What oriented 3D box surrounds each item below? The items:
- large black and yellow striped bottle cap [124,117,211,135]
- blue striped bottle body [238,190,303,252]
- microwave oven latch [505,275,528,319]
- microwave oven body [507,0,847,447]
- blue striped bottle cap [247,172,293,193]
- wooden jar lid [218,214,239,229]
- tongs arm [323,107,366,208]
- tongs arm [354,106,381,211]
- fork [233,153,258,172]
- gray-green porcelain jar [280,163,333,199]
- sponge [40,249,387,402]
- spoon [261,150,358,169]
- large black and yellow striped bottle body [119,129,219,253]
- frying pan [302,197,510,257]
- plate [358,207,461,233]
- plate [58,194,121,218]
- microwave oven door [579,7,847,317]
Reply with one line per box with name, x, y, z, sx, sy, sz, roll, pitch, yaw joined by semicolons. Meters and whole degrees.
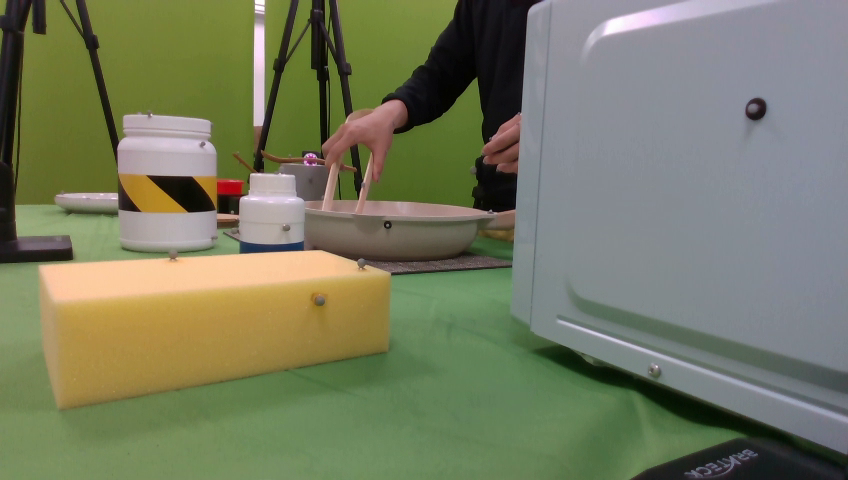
large black and yellow striped bottle cap;-0.366;-0.163;0.866;0.115;0.019;0.115;3;7;0
blue striped bottle body;-0.153;-0.007;0.606;0.063;0.120;0.063;2;7;0
microwave oven latch;0.100;0.041;0.471;0.079;0.029;0.030;-1;7;-28
microwave oven body;0.331;-0.042;0.425;0.444;0.260;0.324;-2;8;-31
blue striped bottle cap;-0.152;-0.057;0.598;0.044;0.020;0.044;3;7;0
wooden jar lid;-0.404;-0.037;1.169;0.108;0.020;0.108;3;7;0
tongs arm;-0.138;-0.141;1.051;0.028;0.028;0.387;-11;34;10
tongs arm;-0.107;-0.145;1.048;0.051;0.026;0.384;-7;35;10
fork;-0.396;-0.143;1.486;0.028;0.018;0.208;20;-25;45
gray-green porcelain jar;-0.238;-0.091;1.221;0.106;0.126;0.106;2;7;0
sponge;-0.142;0.047;0.420;0.208;0.061;0.117;-3;8;-36
spoon;-0.229;-0.162;1.222;0.194;0.021;0.041;3;0;-17
large black and yellow striped bottle body;-0.367;-0.080;0.876;0.131;0.184;0.130;1;7;0
frying pan;0.051;-0.035;0.915;0.487;0.102;0.307;-5;7;11
plate;-0.030;-0.041;1.213;0.208;0.039;0.207;3;7;0
plate;-0.671;-0.074;1.310;0.209;0.038;0.209;2;8;0
microwave oven door;0.294;-0.067;0.570;0.358;0.243;0.039;-3;9;-31
